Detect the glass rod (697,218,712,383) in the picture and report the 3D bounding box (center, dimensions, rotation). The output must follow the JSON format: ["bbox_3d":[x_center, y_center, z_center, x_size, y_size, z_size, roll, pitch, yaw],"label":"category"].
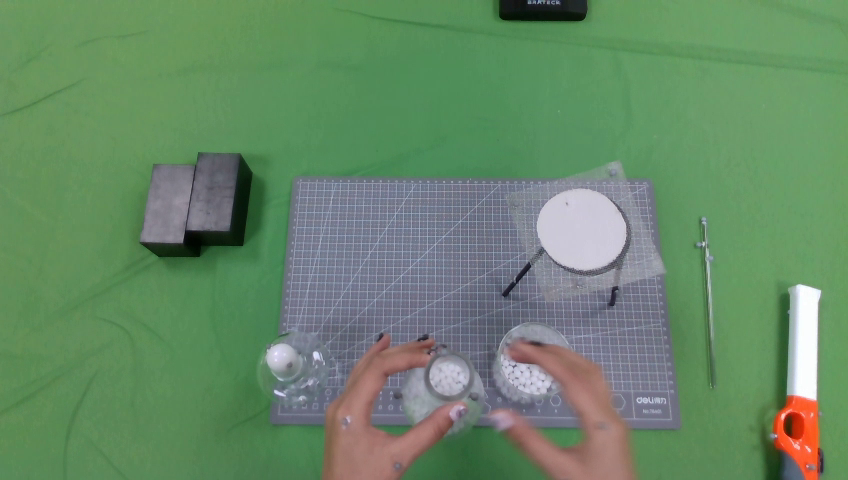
[{"bbox_3d":[0.326,0.066,0.708,0.008,0.008,0.198,5,71,2],"label":"glass rod"}]

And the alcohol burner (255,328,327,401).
[{"bbox_3d":[-0.142,0.127,0.631,0.078,0.120,0.077,0,72,-1],"label":"alcohol burner"}]

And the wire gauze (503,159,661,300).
[{"bbox_3d":[0.154,-0.012,0.595,0.125,0.011,0.120,-15,73,-4],"label":"wire gauze"}]

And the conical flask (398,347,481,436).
[{"bbox_3d":[0.015,0.118,0.494,0.075,0.122,0.075,1,69,-2],"label":"conical flask"}]

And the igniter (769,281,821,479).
[{"bbox_3d":[0.404,0.178,0.659,0.057,0.025,0.275,16,72,-5],"label":"igniter"}]

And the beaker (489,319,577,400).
[{"bbox_3d":[0.109,0.129,0.637,0.084,0.101,0.073,-1,71,0],"label":"beaker"}]

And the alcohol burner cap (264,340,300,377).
[{"bbox_3d":[-0.141,0.115,0.597,0.034,0.048,0.033,2,69,-4],"label":"alcohol burner cap"}]

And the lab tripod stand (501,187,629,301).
[{"bbox_3d":[0.156,0.012,0.658,0.148,0.132,0.147,0,73,1],"label":"lab tripod stand"}]
